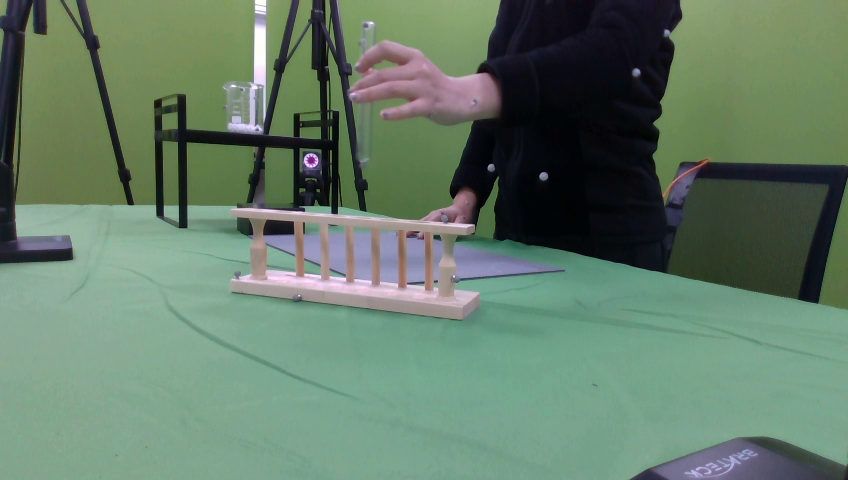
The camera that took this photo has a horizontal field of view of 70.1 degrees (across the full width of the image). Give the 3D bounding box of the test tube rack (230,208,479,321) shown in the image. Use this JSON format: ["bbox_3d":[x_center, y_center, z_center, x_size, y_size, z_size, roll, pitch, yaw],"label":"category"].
[{"bbox_3d":[-0.069,0.017,0.598,0.242,0.085,0.067,5,8,18],"label":"test tube rack"}]

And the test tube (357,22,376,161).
[{"bbox_3d":[-0.064,-0.163,0.673,0.017,0.150,0.017,4,11,0],"label":"test tube"}]

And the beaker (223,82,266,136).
[{"bbox_3d":[-0.362,-0.262,1.215,0.084,0.100,0.074,2,7,-1],"label":"beaker"}]
